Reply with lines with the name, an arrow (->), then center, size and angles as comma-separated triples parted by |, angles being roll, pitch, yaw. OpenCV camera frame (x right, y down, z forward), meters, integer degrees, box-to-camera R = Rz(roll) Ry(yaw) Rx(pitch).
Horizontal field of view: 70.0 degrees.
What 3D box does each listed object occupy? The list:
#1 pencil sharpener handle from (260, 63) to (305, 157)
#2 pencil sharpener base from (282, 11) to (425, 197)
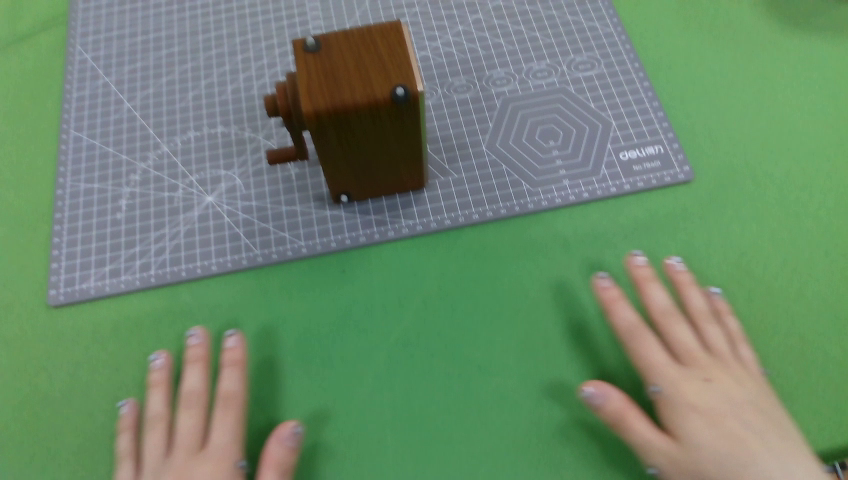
pencil sharpener handle -> -0.093, -0.076, 0.376 | 0.031, 0.068, 0.035 | -11, 58, -4
pencil sharpener base -> -0.043, -0.082, 0.392 | 0.077, 0.108, 0.061 | -11, 65, -4
